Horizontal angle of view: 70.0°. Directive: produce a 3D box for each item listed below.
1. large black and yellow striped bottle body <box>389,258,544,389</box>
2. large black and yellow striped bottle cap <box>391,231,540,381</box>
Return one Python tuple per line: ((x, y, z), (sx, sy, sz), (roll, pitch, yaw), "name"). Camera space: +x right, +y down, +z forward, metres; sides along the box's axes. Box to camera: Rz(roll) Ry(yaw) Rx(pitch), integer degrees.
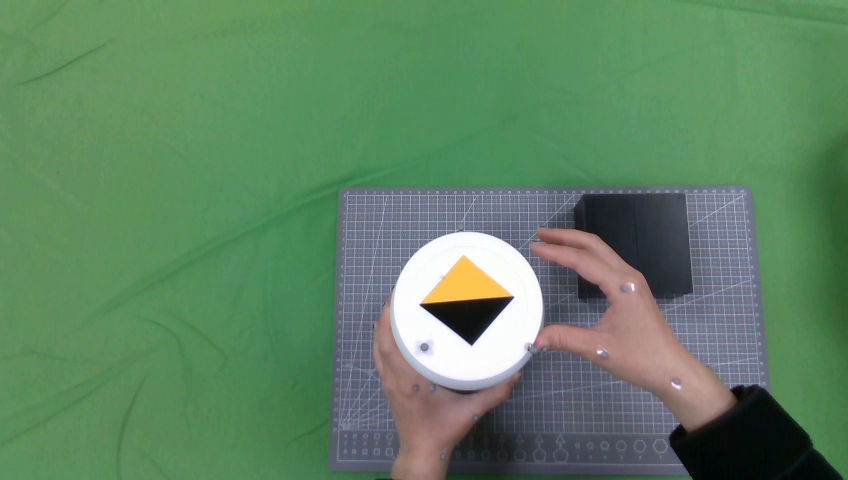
((0.037, 0.068, 0.552), (0.131, 0.184, 0.130), (0, 79, 2), "large black and yellow striped bottle body")
((0.031, 0.051, 0.465), (0.115, 0.019, 0.114), (0, 80, 2), "large black and yellow striped bottle cap")
